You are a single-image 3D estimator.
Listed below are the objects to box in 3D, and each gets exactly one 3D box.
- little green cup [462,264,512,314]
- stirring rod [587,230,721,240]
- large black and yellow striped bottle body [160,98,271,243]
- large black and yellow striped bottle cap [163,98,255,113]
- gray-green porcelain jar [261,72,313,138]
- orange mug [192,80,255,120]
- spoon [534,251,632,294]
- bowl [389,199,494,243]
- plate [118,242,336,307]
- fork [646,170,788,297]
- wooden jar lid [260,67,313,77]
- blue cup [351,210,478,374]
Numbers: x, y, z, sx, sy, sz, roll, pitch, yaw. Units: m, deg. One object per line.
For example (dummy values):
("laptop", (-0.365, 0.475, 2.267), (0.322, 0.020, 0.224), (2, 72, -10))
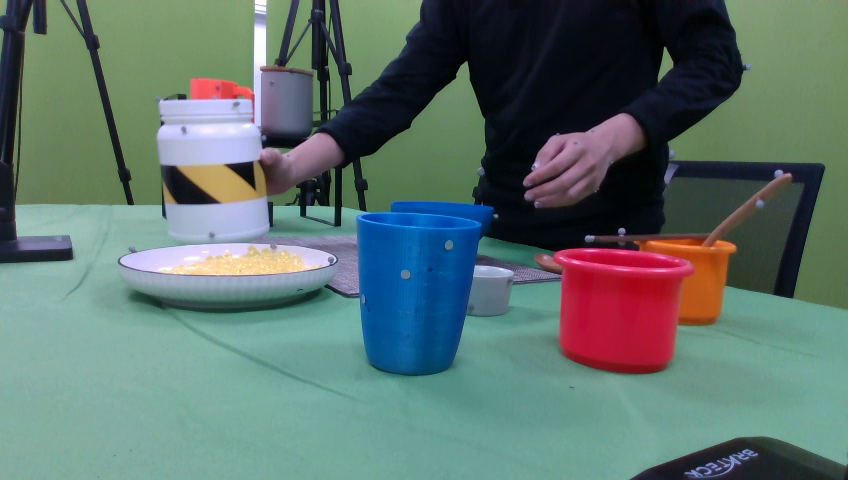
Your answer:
("little green cup", (0.053, 0.047, 0.580), (0.061, 0.038, 0.061), (3, 8, 0))
("stirring rod", (0.227, -0.005, 0.586), (0.177, 0.006, 0.014), (-2, 6, -29))
("large black and yellow striped bottle body", (-0.282, -0.097, 0.821), (0.131, 0.184, 0.130), (-2, 13, 1))
("large black and yellow striped bottle cap", (-0.284, -0.179, 0.803), (0.115, 0.019, 0.115), (-1, 14, 1))
("gray-green porcelain jar", (-0.284, -0.276, 1.253), (0.106, 0.126, 0.106), (2, 8, 0))
("orange mug", (-0.389, -0.257, 1.173), (0.126, 0.100, 0.083), (-1, 7, 9))
("spoon", (0.193, 0.038, 0.753), (0.042, 0.021, 0.193), (15, 2, -21))
("bowl", (0.024, -0.015, 0.872), (0.151, 0.077, 0.151), (3, 7, 0))
("plate", (-0.194, 0.033, 0.615), (0.209, 0.038, 0.209), (2, 7, 0))
("fork", (0.256, 0.004, 0.543), (0.028, 0.018, 0.207), (2, -36, -10))
("wooden jar lid", (-0.283, -0.339, 1.245), (0.108, 0.020, 0.108), (5, 9, 0))
("blue cup", (-0.009, 0.034, 0.414), (0.093, 0.100, 0.092), (3, 9, 0))
